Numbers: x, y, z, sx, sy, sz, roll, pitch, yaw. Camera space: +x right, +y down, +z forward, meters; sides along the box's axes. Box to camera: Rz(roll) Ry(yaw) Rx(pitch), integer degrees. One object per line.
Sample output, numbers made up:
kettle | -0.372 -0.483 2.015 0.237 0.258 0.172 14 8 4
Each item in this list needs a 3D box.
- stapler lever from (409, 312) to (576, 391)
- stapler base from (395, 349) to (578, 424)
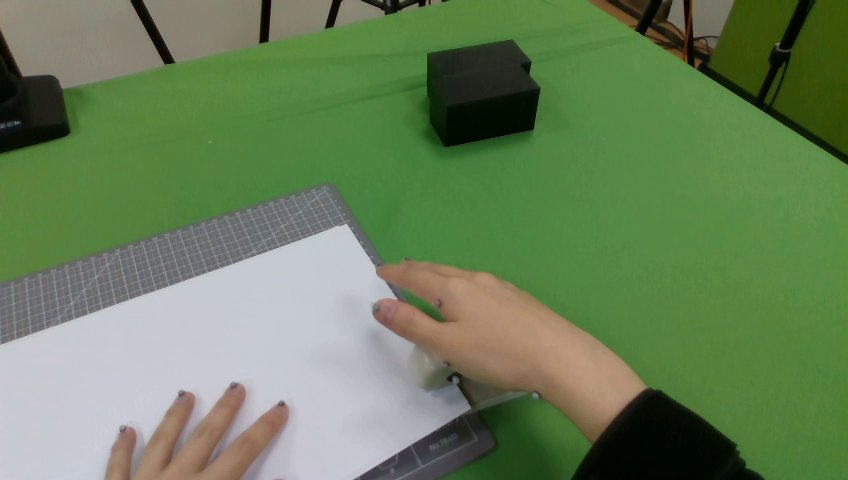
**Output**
stapler lever | 0.047 0.069 0.401 0.118 0.040 0.026 -14 50 -18
stapler base | 0.045 0.087 0.418 0.131 0.024 0.041 -13 50 -19
